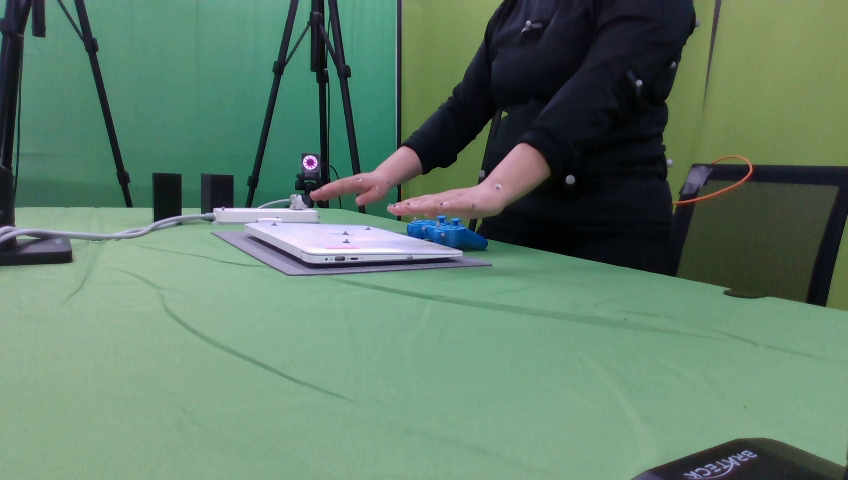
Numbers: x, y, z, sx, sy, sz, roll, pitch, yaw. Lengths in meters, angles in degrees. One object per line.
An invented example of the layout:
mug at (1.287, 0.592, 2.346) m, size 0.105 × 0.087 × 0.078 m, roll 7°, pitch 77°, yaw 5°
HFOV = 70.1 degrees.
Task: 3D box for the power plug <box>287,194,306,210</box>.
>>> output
power plug at (-0.283, -0.075, 1.342) m, size 0.035 × 0.052 × 0.072 m, roll 0°, pitch 3°, yaw -18°

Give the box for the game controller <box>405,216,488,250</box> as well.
game controller at (0.034, -0.013, 1.067) m, size 0.097 × 0.051 × 0.154 m, roll -6°, pitch 10°, yaw -29°

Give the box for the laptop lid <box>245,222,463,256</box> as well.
laptop lid at (-0.126, -0.005, 0.951) m, size 0.243 × 0.013 × 0.355 m, roll 1°, pitch 7°, yaw -28°

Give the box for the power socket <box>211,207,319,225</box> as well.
power socket at (-0.334, -0.051, 1.281) m, size 0.228 × 0.032 × 0.072 m, roll -1°, pitch 9°, yaw -29°

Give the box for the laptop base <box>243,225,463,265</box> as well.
laptop base at (-0.129, 0.007, 0.952) m, size 0.237 × 0.023 × 0.352 m, roll 2°, pitch 6°, yaw -30°

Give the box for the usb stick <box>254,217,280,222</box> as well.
usb stick at (-0.296, -0.028, 1.114) m, size 0.059 × 0.027 × 0.021 m, roll -4°, pitch 12°, yaw -30°
